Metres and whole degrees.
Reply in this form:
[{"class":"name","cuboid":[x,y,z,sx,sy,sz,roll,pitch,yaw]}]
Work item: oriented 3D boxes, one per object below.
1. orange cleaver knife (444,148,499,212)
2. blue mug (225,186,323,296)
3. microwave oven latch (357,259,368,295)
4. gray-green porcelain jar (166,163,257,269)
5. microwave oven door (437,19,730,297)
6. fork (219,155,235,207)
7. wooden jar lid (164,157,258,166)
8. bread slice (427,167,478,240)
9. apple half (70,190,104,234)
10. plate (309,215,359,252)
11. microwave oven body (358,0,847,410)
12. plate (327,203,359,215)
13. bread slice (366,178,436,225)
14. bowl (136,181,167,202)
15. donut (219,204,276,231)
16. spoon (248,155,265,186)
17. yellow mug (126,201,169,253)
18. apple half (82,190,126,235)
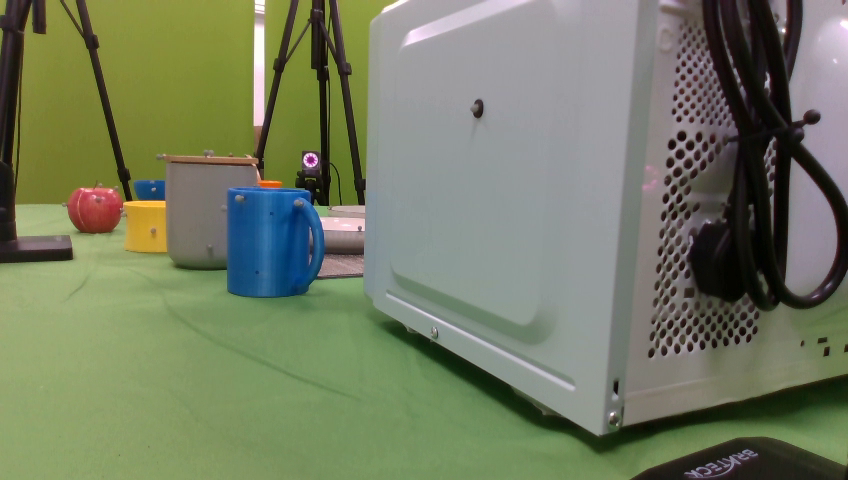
[{"class":"orange cleaver knife","cuboid":[0.092,-0.092,1.128,0.012,0.077,0.212,-11,-33,29]},{"class":"blue mug","cuboid":[-0.148,0.000,0.618,0.116,0.106,0.083,7,9,33]},{"class":"microwave oven latch","cuboid":[-0.019,0.031,0.529,0.079,0.029,0.030,-1,7,-27]},{"class":"gray-green porcelain jar","cuboid":[-0.263,-0.031,0.754,0.106,0.126,0.106,2,7,0]},{"class":"microwave oven door","cuboid":[0.181,-0.076,0.618,0.358,0.243,0.039,-2,9,-28]},{"class":"fork","cuboid":[-0.459,-0.134,1.415,0.028,0.018,0.207,-1,-34,-24]},{"class":"wooden jar lid","cuboid":[-0.261,-0.093,0.746,0.108,0.020,0.108,0,9,0]},{"class":"bread slice","cuboid":[0.055,-0.062,1.056,0.019,0.131,0.105,24,18,32]},{"class":"apple half","cuboid":[-0.552,-0.047,1.010,0.053,0.074,0.081,0,10,26]},{"class":"plate","cuboid":[-0.130,-0.011,0.945,0.208,0.039,0.207,2,8,0]},{"class":"microwave oven body","cuboid":[0.210,-0.051,0.471,0.444,0.260,0.324,-1,7,-28]},{"class":"plate","cuboid":[-0.102,-0.053,1.299,0.209,0.038,0.209,2,8,0]},{"class":"bread slice","cuboid":[-0.050,-0.073,1.139,0.107,0.018,0.134,-10,-27,-41]},{"class":"bowl","cuboid":[-0.497,-0.076,1.221,0.151,0.077,0.151,2,8,0]},{"class":"donut","cuboid":[-0.316,-0.039,1.083,0.099,0.048,0.099,3,7,0]},{"class":"spoon","cuboid":[-0.417,-0.150,1.543,0.042,0.193,0.021,-3,-36,-34]},{"class":"yellow mug","cuboid":[-0.361,-0.019,0.866,0.130,0.064,0.100,6,9,27]},{"class":"apple half","cuboid":[-0.516,-0.046,0.994,0.032,0.081,0.081,0,6,26]}]
